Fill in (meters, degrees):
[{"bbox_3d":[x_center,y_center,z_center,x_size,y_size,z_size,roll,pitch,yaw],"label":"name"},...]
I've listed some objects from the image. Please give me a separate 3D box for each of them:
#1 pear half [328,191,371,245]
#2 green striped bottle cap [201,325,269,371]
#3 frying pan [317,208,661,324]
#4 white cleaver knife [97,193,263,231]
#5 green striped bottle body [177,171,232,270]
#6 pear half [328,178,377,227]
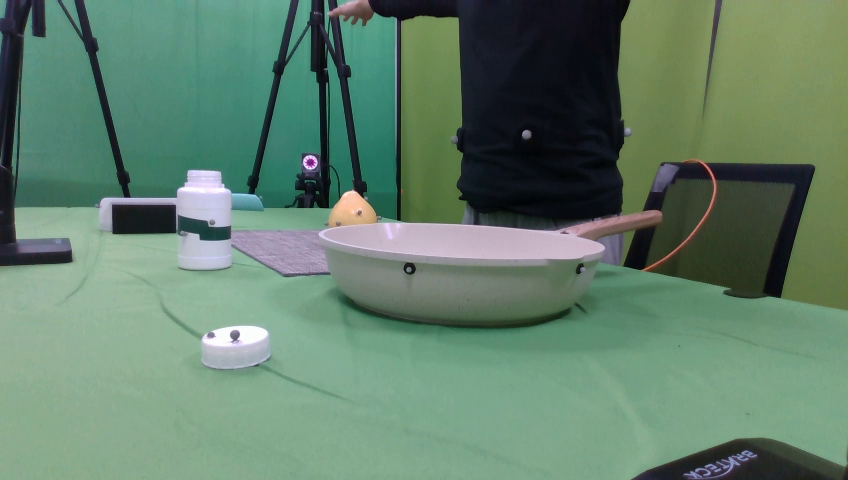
[{"bbox_3d":[-0.123,-0.037,0.976,0.071,0.088,0.031,-6,11,-26],"label":"pear half"},{"bbox_3d":[-0.129,0.073,0.415,0.044,0.020,0.044,2,8,0],"label":"green striped bottle cap"},{"bbox_3d":[0.121,0.006,0.691,0.490,0.102,0.305,-13,15,-33],"label":"frying pan"},{"bbox_3d":[-0.444,-0.053,1.121,0.288,0.066,0.021,-4,16,-27],"label":"white cleaver knife"},{"bbox_3d":[-0.273,-0.026,0.752,0.063,0.119,0.063,2,7,0],"label":"green striped bottle body"},{"bbox_3d":[-0.109,-0.042,0.942,0.077,0.110,0.055,-6,10,-25],"label":"pear half"}]
